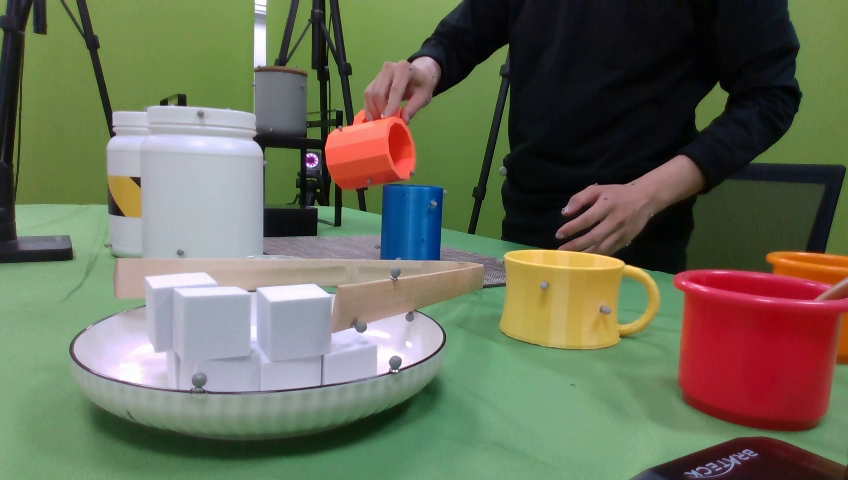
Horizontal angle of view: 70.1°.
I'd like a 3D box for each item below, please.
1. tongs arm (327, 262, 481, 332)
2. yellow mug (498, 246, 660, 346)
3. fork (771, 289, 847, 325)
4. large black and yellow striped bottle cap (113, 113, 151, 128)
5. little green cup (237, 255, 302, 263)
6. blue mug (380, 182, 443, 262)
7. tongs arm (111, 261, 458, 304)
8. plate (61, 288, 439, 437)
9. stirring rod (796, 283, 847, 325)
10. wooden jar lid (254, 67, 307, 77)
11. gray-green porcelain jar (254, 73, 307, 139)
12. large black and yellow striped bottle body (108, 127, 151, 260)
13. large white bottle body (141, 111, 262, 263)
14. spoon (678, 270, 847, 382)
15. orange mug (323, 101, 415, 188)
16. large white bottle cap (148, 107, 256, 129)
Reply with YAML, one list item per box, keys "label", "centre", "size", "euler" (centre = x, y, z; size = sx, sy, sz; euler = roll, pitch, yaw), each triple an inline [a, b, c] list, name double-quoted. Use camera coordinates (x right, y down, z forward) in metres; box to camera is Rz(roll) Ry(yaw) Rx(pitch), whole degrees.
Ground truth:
- label: "tongs arm"
  centre: [-0.003, 0.036, 0.493]
  size: [0.050, 0.026, 0.386]
  euler: [1, 0, 19]
- label: "yellow mug"
  centre: [0.130, 0.045, 0.508]
  size: [0.131, 0.064, 0.100]
  euler: [4, 7, 6]
- label: "fork"
  centre: [0.335, 0.018, 0.443]
  size: [0.028, 0.018, 0.207]
  euler: [-1, -36, -20]
- label: "large black and yellow striped bottle cap"
  centre: [-0.348, -0.154, 0.800]
  size: [0.115, 0.019, 0.115]
  euler: [2, 6, 0]
- label: "little green cup"
  centre: [-0.150, 0.038, 0.590]
  size: [0.061, 0.038, 0.061]
  euler: [3, 6, 0]
- label: "blue mug"
  centre: [-0.019, -0.026, 0.833]
  size: [0.082, 0.106, 0.116]
  euler: [1, 7, -7]
- label: "tongs arm"
  centre: [-0.080, 0.032, 0.527]
  size: [0.028, 0.027, 0.389]
  euler: [-3, -3, 33]
- label: "plate"
  centre: [-0.095, 0.069, 0.362]
  size: [0.208, 0.039, 0.207]
  euler: [3, 7, 0]
- label: "stirring rod"
  centre: [0.347, 0.019, 0.460]
  size: [0.014, 0.176, 0.006]
  euler: [-17, 59, -26]
- label: "wooden jar lid"
  centre: [-0.296, -0.339, 1.251]
  size: [0.108, 0.020, 0.108]
  euler: [2, 7, 0]
- label: "gray-green porcelain jar"
  centre: [-0.298, -0.277, 1.259]
  size: [0.106, 0.126, 0.106]
  euler: [3, 7, 0]
- label: "large black and yellow striped bottle body"
  centre: [-0.350, -0.071, 0.812]
  size: [0.131, 0.184, 0.130]
  euler: [2, 8, 0]
- label: "large white bottle body"
  centre: [-0.254, -0.053, 0.697]
  size: [0.131, 0.184, 0.130]
  euler: [2, 7, 0]
- label: "spoon"
  centre: [0.229, 0.031, 0.338]
  size: [0.193, 0.021, 0.042]
  euler: [-44, -17, 27]
- label: "orange mug"
  centre: [-0.071, -0.136, 0.841]
  size: [0.100, 0.126, 0.084]
  euler: [-2, -28, 28]
- label: "large white bottle cap"
  centre: [-0.250, -0.137, 0.686]
  size: [0.115, 0.018, 0.115]
  euler: [2, 8, 0]
